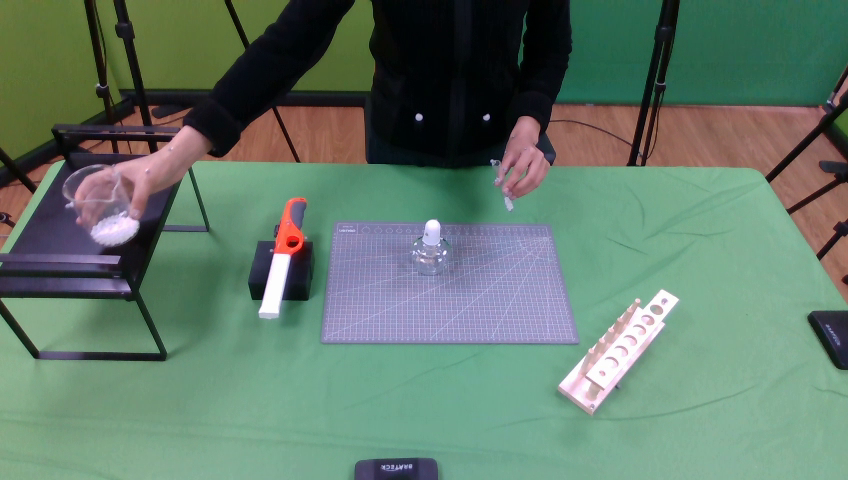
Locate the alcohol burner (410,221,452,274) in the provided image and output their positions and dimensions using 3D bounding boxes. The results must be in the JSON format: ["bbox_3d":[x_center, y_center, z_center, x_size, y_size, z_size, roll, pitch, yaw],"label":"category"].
[{"bbox_3d":[0.013,0.008,1.120,0.078,0.120,0.077,1,49,0],"label":"alcohol burner"}]

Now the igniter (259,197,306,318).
[{"bbox_3d":[-0.252,0.021,1.087,0.057,0.025,0.275,5,48,-3],"label":"igniter"}]

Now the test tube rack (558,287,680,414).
[{"bbox_3d":[0.327,0.170,1.009,0.066,0.085,0.242,36,54,27],"label":"test tube rack"}]

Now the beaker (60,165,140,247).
[{"bbox_3d":[-0.454,-0.044,0.863,0.083,0.101,0.074,30,55,23],"label":"beaker"}]

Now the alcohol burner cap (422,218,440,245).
[{"bbox_3d":[0.014,-0.018,1.095,0.034,0.048,0.033,3,43,-2],"label":"alcohol burner cap"}]

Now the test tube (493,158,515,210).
[{"bbox_3d":[0.144,-0.097,1.089,0.017,0.151,0.017,-8,59,14],"label":"test tube"}]
